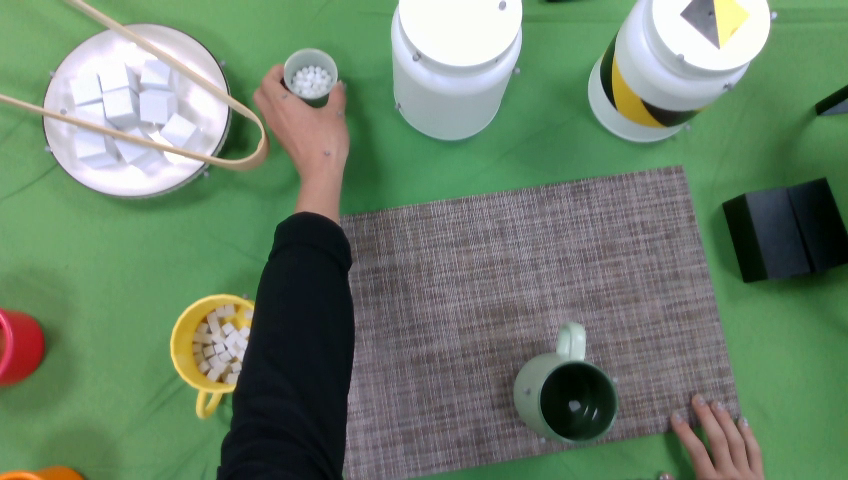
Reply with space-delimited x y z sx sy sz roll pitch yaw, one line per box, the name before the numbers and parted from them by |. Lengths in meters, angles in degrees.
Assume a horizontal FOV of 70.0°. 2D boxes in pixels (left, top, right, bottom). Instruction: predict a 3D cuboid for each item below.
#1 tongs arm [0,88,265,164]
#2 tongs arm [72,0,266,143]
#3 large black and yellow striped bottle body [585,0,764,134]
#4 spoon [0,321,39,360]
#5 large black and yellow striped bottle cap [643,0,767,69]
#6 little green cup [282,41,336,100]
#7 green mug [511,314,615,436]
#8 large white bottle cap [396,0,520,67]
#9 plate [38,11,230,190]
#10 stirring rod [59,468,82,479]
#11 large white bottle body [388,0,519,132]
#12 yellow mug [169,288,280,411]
tongs arm | -0.363 -0.149 0.657 0.384 0.026 0.050 19 77 2
tongs arm | -0.329 -0.223 0.671 0.387 0.028 0.028 33 75 5
large black and yellow striped bottle body | 0.263 -0.203 0.654 0.131 0.184 0.130 0 81 -2
spoon | -0.491 0.101 0.592 0.195 0.021 0.041 8 76 -46
large black and yellow striped bottle cap | 0.265 -0.219 0.572 0.115 0.019 0.114 1 82 -4
little green cup | -0.131 -0.193 0.700 0.061 0.039 0.061 1 81 -4
green mug | 0.145 0.140 0.633 0.092 0.105 0.125 8 81 -1
large white bottle cap | 0.031 -0.217 0.559 0.115 0.018 0.114 0 82 -2
plate | -0.324 -0.156 0.692 0.208 0.039 0.207 0 82 -3
stirring rod | -0.404 0.284 0.571 0.014 0.006 0.175 41 40 3
large white bottle body | 0.028 -0.204 0.642 0.131 0.185 0.130 0 81 -2
yellow mug | -0.214 0.118 0.642 0.100 0.064 0.130 16 82 -1
